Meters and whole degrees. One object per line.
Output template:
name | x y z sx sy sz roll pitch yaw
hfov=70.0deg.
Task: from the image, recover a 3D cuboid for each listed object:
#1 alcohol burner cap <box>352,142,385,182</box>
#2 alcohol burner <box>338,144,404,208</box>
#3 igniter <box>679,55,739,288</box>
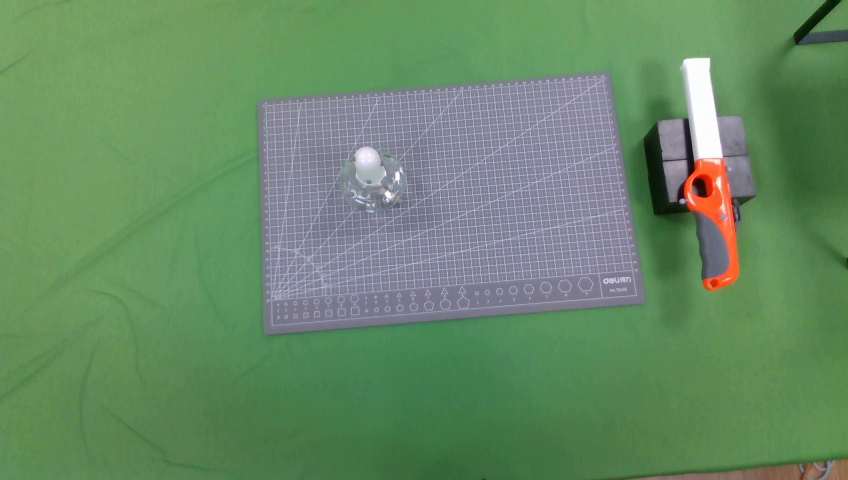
alcohol burner cap | -0.062 -0.087 0.655 0.034 0.048 0.033 -1 71 3
alcohol burner | -0.061 -0.078 0.690 0.078 0.119 0.077 0 77 -1
igniter | 0.319 -0.082 0.686 0.057 0.025 0.275 -1 76 3
